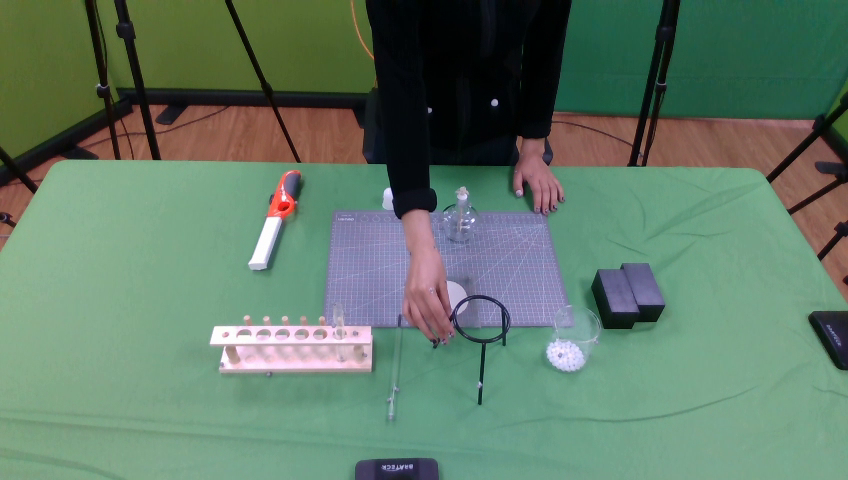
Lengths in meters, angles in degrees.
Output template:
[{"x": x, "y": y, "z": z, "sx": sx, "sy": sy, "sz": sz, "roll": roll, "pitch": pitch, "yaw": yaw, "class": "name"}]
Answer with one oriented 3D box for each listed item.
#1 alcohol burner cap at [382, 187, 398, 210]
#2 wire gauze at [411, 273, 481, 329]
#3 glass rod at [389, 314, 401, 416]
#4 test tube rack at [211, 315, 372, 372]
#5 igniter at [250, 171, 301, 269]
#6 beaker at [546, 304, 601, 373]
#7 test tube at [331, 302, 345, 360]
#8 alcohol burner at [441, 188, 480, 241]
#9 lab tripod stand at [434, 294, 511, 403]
[{"x": -0.072, "y": -0.090, "z": 1.266, "sx": 0.034, "sy": 0.048, "sz": 0.033, "roll": 2, "pitch": 47, "yaw": -2, "class": "alcohol burner cap"}, {"x": 0.038, "y": 0.108, "z": 1.103, "sx": 0.125, "sy": 0.011, "sz": 0.120, "roll": 2, "pitch": 47, "yaw": -3, "class": "wire gauze"}, {"x": -0.048, "y": 0.203, "z": 1.007, "sx": 0.008, "sy": 0.008, "sz": 0.198, "roll": 3, "pitch": 45, "yaw": 0, "class": "glass rod"}, {"x": -0.208, "y": 0.163, "z": 0.982, "sx": 0.242, "sy": 0.085, "sz": 0.066, "roll": 1, "pitch": 46, "yaw": -4, "class": "test tube rack"}, {"x": -0.297, "y": -0.049, "z": 1.221, "sx": 0.057, "sy": 0.025, "sz": 0.275, "roll": -2, "pitch": 45, "yaw": 9, "class": "igniter"}, {"x": 0.242, "y": 0.167, "z": 1.001, "sx": 0.084, "sy": 0.101, "sz": 0.073, "roll": -32, "pitch": 55, "yaw": -28, "class": "beaker"}, {"x": -0.132, "y": 0.144, "z": 0.937, "sx": 0.017, "sy": 0.151, "sz": 0.017, "roll": 2, "pitch": 49, "yaw": -3, "class": "test tube"}, {"x": 0.073, "y": -0.055, "z": 1.189, "sx": 0.078, "sy": 0.120, "sz": 0.077, "roll": 1, "pitch": 48, "yaw": -1, "class": "alcohol burner"}, {"x": 0.087, "y": 0.164, "z": 0.969, "sx": 0.148, "sy": 0.132, "sz": 0.147, "roll": 3, "pitch": 47, "yaw": -3, "class": "lab tripod stand"}]
